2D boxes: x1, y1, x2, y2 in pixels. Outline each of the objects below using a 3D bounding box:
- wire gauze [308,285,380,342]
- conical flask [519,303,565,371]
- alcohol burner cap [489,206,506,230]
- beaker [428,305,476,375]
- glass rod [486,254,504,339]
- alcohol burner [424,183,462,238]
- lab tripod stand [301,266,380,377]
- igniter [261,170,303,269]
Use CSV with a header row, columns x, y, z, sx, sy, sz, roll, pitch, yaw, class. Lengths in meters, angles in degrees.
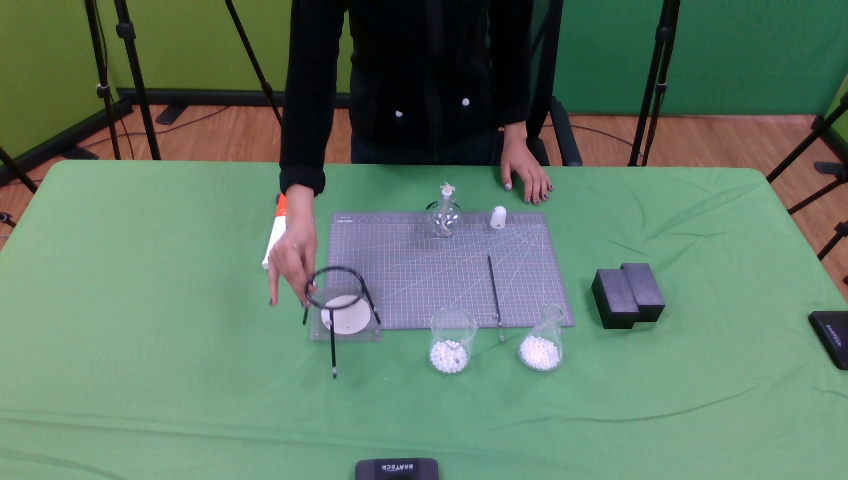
x,y,z,sx,sy,sz,roll,pitch,yaw,class
-0.141,0.128,1.071,0.125,0.011,0.120,0,46,-5,wire gauze
0.201,0.155,0.997,0.075,0.122,0.075,2,46,-2,conical flask
0.152,-0.047,1.241,0.034,0.048,0.033,2,45,-2,alcohol burner cap
0.044,0.169,0.987,0.074,0.101,0.083,1,47,-3,beaker
0.130,0.099,1.119,0.008,0.008,0.198,-1,46,-4,glass rod
0.039,-0.063,1.197,0.078,0.119,0.077,2,44,-2,alcohol burner
-0.134,0.114,0.938,0.148,0.132,0.147,2,41,-2,lab tripod stand
-0.284,-0.050,1.222,0.057,0.025,0.275,-4,45,6,igniter
